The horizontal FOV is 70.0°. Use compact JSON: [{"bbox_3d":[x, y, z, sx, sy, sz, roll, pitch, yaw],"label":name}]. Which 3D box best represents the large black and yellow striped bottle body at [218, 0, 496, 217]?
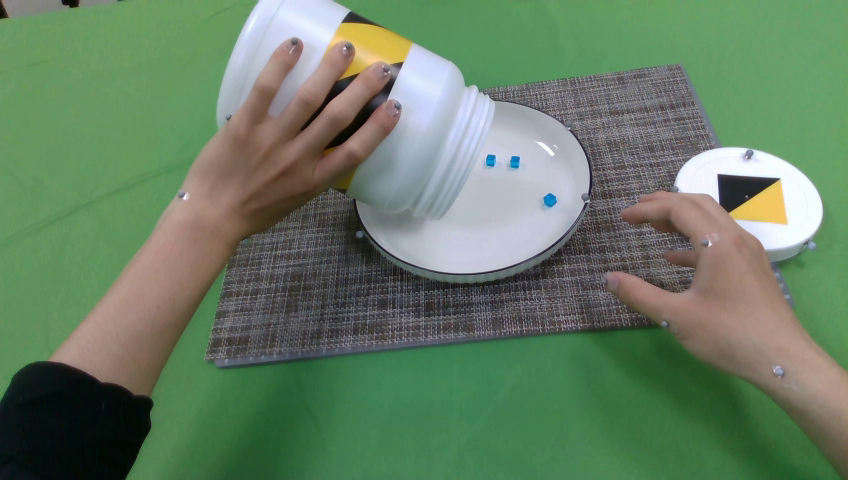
[{"bbox_3d":[-0.049,-0.104,0.476,0.184,0.131,0.130,25,56,-9],"label":"large black and yellow striped bottle body"}]

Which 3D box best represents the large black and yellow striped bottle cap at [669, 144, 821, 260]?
[{"bbox_3d":[0.265,-0.035,0.503,0.115,0.019,0.114,-2,54,3],"label":"large black and yellow striped bottle cap"}]

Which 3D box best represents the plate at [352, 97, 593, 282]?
[{"bbox_3d":[0.042,-0.046,0.536,0.207,0.039,0.205,-5,52,6],"label":"plate"}]
